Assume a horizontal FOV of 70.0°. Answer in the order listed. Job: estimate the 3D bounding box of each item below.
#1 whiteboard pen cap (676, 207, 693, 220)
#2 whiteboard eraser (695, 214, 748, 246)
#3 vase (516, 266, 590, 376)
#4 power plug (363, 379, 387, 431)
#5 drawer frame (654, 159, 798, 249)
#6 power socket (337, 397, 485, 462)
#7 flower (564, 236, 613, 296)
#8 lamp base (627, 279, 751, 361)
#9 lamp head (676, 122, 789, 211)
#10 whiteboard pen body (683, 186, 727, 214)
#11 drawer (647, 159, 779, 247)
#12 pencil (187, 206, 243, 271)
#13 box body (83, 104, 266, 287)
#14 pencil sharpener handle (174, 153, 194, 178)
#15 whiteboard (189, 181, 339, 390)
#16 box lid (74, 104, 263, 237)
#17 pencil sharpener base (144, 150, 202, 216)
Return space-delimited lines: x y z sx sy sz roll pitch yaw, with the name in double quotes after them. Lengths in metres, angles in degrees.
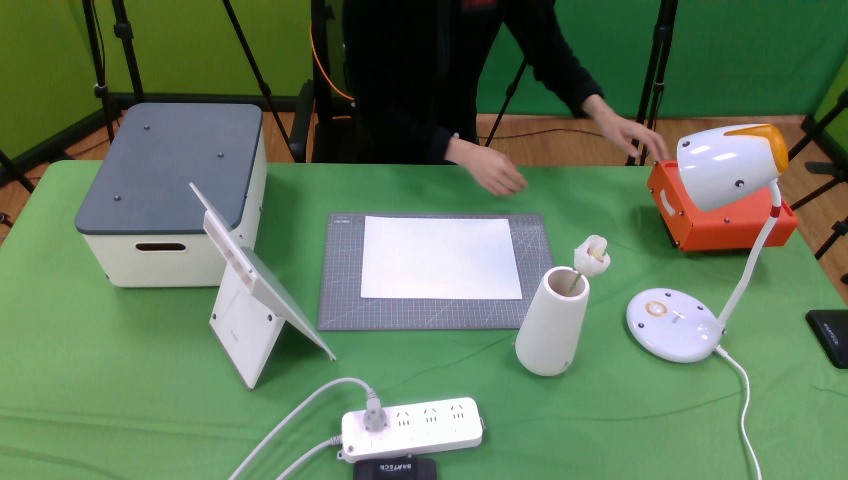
0.524 -0.053 1.216 0.033 0.018 0.018 -27 54 -24 "whiteboard pen cap"
0.592 -0.018 1.209 0.113 0.042 0.055 12 27 -36 "whiteboard eraser"
0.208 0.132 0.964 0.098 0.201 0.097 3 46 -3 "vase"
-0.072 0.252 0.910 0.035 0.053 0.072 3 45 -1 "power plug"
0.588 -0.077 1.219 0.214 0.083 0.200 -2 45 -5 "drawer frame"
-0.018 0.285 0.915 0.227 0.033 0.071 -5 46 -8 "power socket"
0.206 0.088 0.892 0.038 0.363 0.044 -17 67 -10 "flower"
0.459 0.100 1.027 0.178 0.181 0.160 27 51 17 "lamp base"
0.423 -0.104 0.819 0.122 0.113 0.112 -13 33 40 "lamp head"
0.572 -0.081 1.237 0.141 0.017 0.017 -26 53 -26 "whiteboard pen body"
0.582 -0.078 1.215 0.212 0.073 0.193 -1 45 -6 "drawer"
-0.401 -0.009 1.176 0.012 0.012 0.193 15 44 10 "pencil"
-0.447 -0.088 1.150 0.254 0.161 0.361 -1 46 -5 "box body"
-0.479 -0.156 1.225 0.036 0.068 0.030 23 47 2 "pencil sharpener handle"
-0.292 0.096 0.929 0.144 0.307 0.216 -37 57 -10 "whiteboard"
-0.443 -0.139 1.095 0.263 0.015 0.369 -1 45 -5 "box lid"
-0.493 -0.113 1.198 0.061 0.107 0.076 14 46 12 "pencil sharpener base"
